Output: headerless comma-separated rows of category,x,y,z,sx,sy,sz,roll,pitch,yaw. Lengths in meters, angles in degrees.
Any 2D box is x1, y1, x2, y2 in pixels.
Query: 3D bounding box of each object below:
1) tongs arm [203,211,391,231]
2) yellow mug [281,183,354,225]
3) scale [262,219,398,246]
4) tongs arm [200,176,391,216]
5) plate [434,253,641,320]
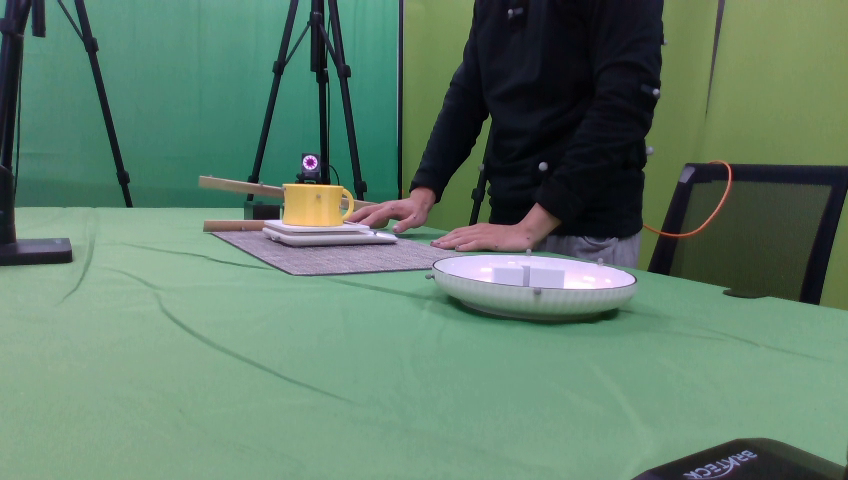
tongs arm,-0.231,-0.036,1.185,0.390,0.028,0.028,-3,33,-33
yellow mug,-0.172,-0.061,1.009,0.131,0.064,0.099,-2,7,-41
scale,-0.160,-0.015,1.028,0.202,0.031,0.148,-1,8,-31
tongs arm,-0.258,-0.084,1.245,0.387,0.026,0.050,6,32,-22
plate,0.114,0.047,0.626,0.208,0.039,0.207,2,7,0
